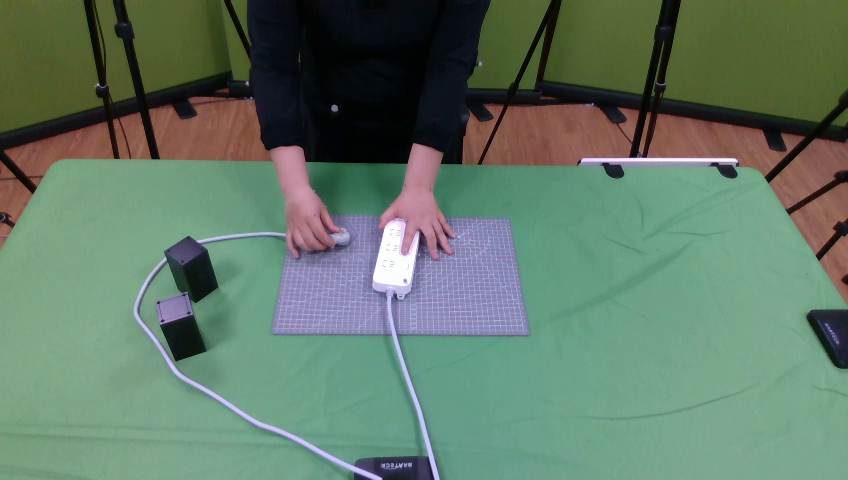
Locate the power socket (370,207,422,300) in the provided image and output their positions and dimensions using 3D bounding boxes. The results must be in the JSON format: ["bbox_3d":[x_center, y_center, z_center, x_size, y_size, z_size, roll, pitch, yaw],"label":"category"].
[{"bbox_3d":[-0.051,0.018,1.165,0.072,0.033,0.225,7,46,4],"label":"power socket"}]

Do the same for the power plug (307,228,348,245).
[{"bbox_3d":[-0.182,-0.013,1.172,0.072,0.035,0.052,24,18,-6],"label":"power plug"}]
